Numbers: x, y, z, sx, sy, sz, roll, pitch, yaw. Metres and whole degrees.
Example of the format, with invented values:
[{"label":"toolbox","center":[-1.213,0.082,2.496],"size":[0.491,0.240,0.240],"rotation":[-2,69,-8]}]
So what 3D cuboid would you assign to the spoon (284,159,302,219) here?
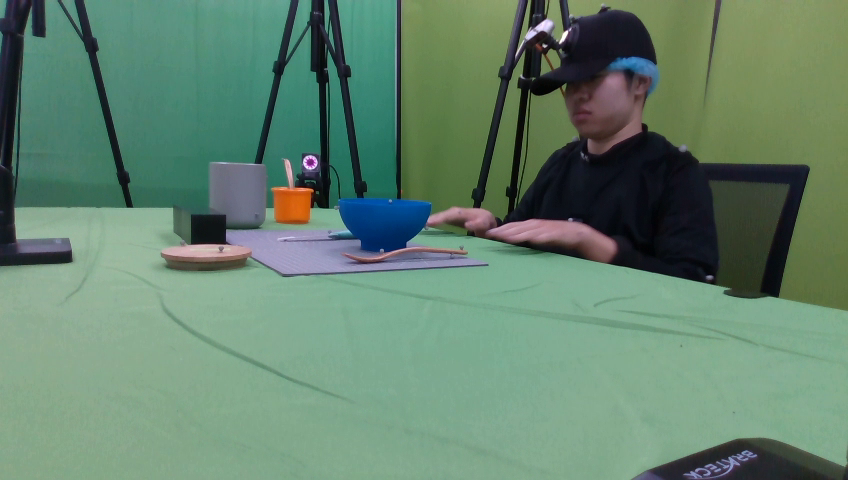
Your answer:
[{"label":"spoon","center":[-0.302,-0.118,1.370],"size":[0.042,0.193,0.021],"rotation":[4,-39,-24]}]

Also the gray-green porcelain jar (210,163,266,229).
[{"label":"gray-green porcelain jar","center":[-0.367,-0.088,1.195],"size":[0.106,0.126,0.106],"rotation":[3,8,0]}]

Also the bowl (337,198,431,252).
[{"label":"bowl","center":[-0.066,-0.024,0.967],"size":[0.151,0.077,0.151],"rotation":[3,7,0]}]

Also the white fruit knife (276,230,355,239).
[{"label":"white fruit knife","center":[-0.159,-0.009,1.058],"size":[0.208,0.016,0.027],"rotation":[-3,-5,-33]}]

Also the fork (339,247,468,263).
[{"label":"fork","center":[-0.023,0.020,0.863],"size":[0.208,0.018,0.028],"rotation":[-4,2,-31]}]

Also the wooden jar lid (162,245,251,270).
[{"label":"wooden jar lid","center":[-0.278,0.022,0.777],"size":[0.108,0.020,0.108],"rotation":[2,6,0]}]
